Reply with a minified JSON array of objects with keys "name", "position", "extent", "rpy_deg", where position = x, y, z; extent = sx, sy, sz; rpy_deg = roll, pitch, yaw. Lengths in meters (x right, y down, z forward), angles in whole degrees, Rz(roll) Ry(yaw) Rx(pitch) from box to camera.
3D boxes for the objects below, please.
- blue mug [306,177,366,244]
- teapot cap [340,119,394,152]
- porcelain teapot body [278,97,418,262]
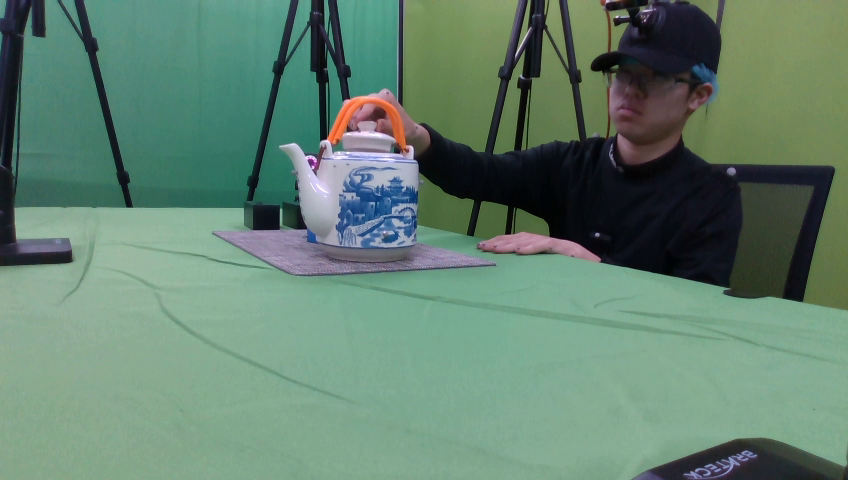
[{"name":"blue mug","position":[-0.144,-0.052,1.027],"extent":[0.082,0.106,0.117],"rpy_deg":[9,10,42]},{"name":"teapot cap","position":[-0.085,-0.153,0.877],"extent":[0.085,0.044,0.085],"rpy_deg":[4,4,0]},{"name":"porcelain teapot body","position":[-0.104,-0.086,0.842],"extent":[0.206,0.225,0.144],"rpy_deg":[-4,10,-38]}]
